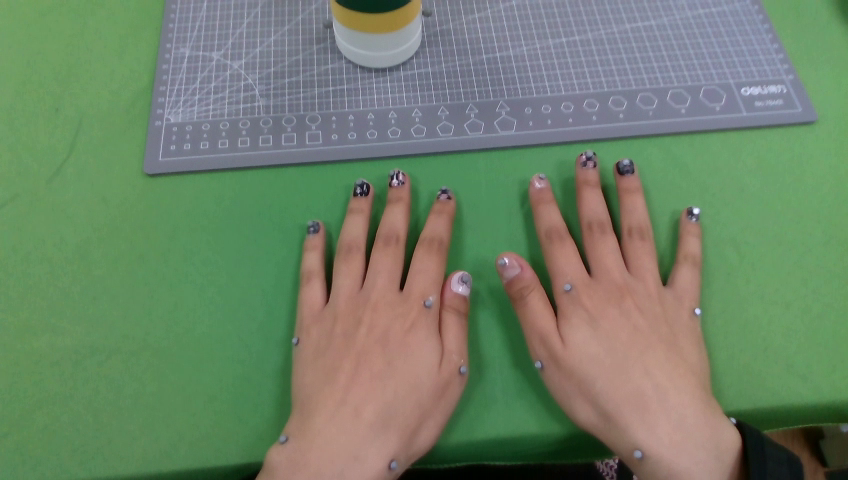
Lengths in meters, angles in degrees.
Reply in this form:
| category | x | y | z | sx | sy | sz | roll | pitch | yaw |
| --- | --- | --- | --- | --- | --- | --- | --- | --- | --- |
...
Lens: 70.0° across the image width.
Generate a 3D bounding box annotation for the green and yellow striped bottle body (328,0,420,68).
| category | x | y | z | sx | sy | sz | roll | pitch | yaw |
| --- | --- | --- | --- | --- | --- | --- | --- | --- | --- |
| green and yellow striped bottle body | -0.034 | -0.174 | 0.386 | 0.063 | 0.120 | 0.062 | 0 | 63 | 0 |
